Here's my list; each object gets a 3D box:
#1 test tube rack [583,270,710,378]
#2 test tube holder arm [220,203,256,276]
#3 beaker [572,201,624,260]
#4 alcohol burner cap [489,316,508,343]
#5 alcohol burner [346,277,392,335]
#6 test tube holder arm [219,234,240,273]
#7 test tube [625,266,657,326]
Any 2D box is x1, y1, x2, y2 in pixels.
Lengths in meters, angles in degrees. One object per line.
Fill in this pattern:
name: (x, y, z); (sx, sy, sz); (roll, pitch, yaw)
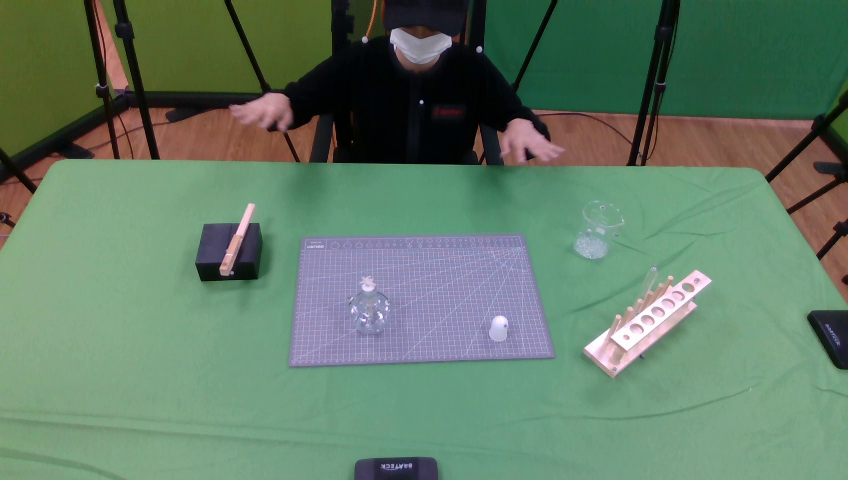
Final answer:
test tube rack: (0.389, 0.133, 1.057); (0.242, 0.085, 0.066); (-29, 54, -28)
test tube holder arm: (-0.340, -0.005, 1.112); (0.015, 0.013, 0.177); (5, 46, 2)
beaker: (0.338, -0.015, 1.186); (0.084, 0.101, 0.074); (21, 49, 15)
alcohol burner cap: (0.130, 0.151, 1.045); (0.034, 0.048, 0.033); (2, 46, -2)
alcohol burner: (-0.093, 0.106, 1.021); (0.078, 0.120, 0.077); (1, 46, -1)
test tube holder arm: (-0.344, 0.023, 1.076); (0.015, 0.010, 0.087); (5, 45, 2)
test tube: (0.367, 0.097, 1.027); (0.017, 0.151, 0.017); (1, 46, -1)
